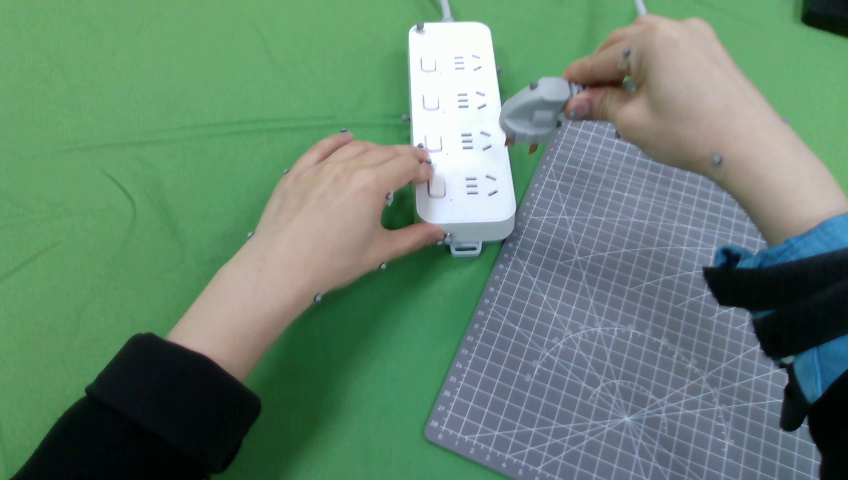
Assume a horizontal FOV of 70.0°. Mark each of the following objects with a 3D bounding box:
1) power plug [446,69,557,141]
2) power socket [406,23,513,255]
[{"bbox_3d":[0.049,-0.091,0.391,0.072,0.035,0.052,22,63,36],"label":"power plug"},{"bbox_3d":[0.023,-0.092,0.474,0.072,0.033,0.224,-1,57,-3],"label":"power socket"}]
